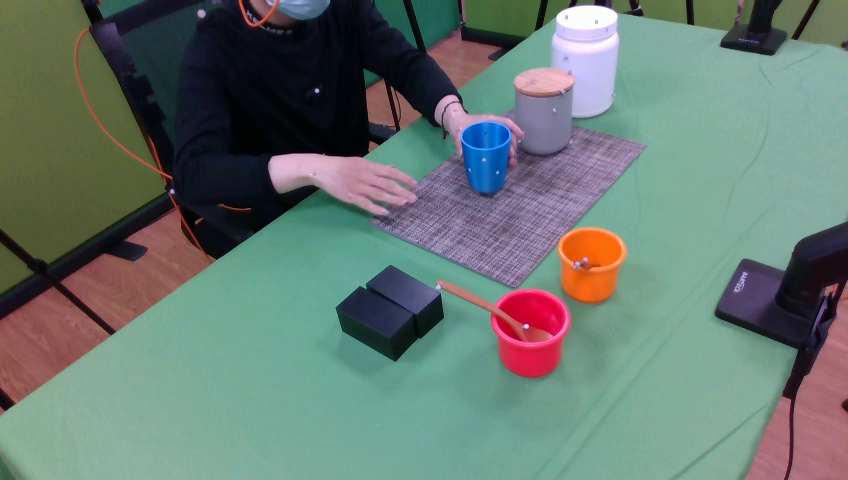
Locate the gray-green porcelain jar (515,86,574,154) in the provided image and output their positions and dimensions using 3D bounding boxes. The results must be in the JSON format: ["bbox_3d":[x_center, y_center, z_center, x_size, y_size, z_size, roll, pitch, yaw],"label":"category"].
[{"bbox_3d":[0.223,-0.233,1.129,0.106,0.127,0.105,-4,40,4],"label":"gray-green porcelain jar"}]

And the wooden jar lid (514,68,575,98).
[{"bbox_3d":[0.216,-0.279,1.088,0.108,0.021,0.108,-3,38,3],"label":"wooden jar lid"}]

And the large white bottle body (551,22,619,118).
[{"bbox_3d":[0.321,-0.355,1.218,0.130,0.185,0.130,-4,41,4],"label":"large white bottle body"}]

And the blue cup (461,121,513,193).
[{"bbox_3d":[0.107,-0.137,1.028,0.092,0.100,0.092,-2,44,3],"label":"blue cup"}]

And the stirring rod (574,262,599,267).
[{"bbox_3d":[0.221,0.033,0.816,0.014,0.006,0.177,9,1,22],"label":"stirring rod"}]

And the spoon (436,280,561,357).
[{"bbox_3d":[0.096,0.095,0.757,0.195,0.021,0.041,34,42,-20],"label":"spoon"}]

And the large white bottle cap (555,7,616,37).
[{"bbox_3d":[0.311,-0.420,1.163,0.115,0.018,0.114,-4,40,4],"label":"large white bottle cap"}]
